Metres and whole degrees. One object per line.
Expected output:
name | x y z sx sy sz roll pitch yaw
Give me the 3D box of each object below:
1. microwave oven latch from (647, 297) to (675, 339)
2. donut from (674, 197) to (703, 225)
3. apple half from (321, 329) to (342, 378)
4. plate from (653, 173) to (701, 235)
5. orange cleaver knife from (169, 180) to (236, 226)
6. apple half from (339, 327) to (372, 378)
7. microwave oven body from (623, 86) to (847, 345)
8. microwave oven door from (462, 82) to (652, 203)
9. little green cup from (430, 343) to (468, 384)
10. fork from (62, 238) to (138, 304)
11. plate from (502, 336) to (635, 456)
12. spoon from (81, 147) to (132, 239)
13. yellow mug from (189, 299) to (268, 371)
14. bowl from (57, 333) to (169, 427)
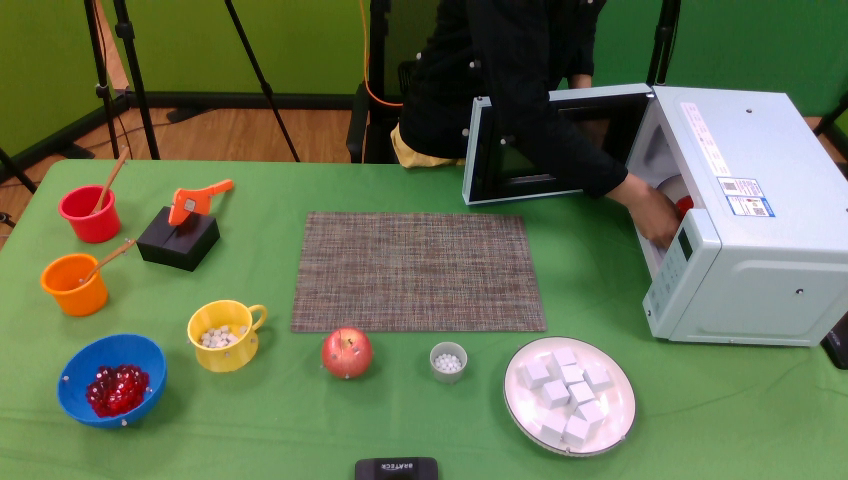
microwave oven latch | 0.413 0.134 1.060 0.030 0.029 0.078 5 45 2
donut | 0.528 -0.048 1.157 0.099 0.048 0.098 5 37 -4
apple half | -0.149 0.186 0.972 0.033 0.081 0.080 -2 46 -12
plate | 0.548 -0.051 1.171 0.209 0.038 0.208 1 46 -1
orange cleaver knife | -0.435 -0.076 1.199 0.012 0.077 0.211 17 17 9
apple half | -0.111 0.182 0.980 0.053 0.075 0.080 -2 42 -12
microwave oven body | 0.567 -0.053 1.118 0.326 0.261 0.439 2 45 -1
microwave oven door | 0.261 -0.194 1.226 0.356 0.245 0.039 -8 47 -11
little green cup | 0.039 0.203 0.993 0.061 0.039 0.061 2 46 -2
fork | -0.547 0.053 1.019 0.207 0.019 0.028 -36 40 23
plate | 0.225 0.248 0.963 0.208 0.039 0.206 2 46 -2
spoon | -0.603 -0.089 1.156 0.041 0.022 0.193 27 94 18
yellow mug | -0.316 0.148 1.002 0.131 0.064 0.099 -33 56 -31
bowl | -0.456 0.222 0.912 0.151 0.077 0.150 3 46 -2
